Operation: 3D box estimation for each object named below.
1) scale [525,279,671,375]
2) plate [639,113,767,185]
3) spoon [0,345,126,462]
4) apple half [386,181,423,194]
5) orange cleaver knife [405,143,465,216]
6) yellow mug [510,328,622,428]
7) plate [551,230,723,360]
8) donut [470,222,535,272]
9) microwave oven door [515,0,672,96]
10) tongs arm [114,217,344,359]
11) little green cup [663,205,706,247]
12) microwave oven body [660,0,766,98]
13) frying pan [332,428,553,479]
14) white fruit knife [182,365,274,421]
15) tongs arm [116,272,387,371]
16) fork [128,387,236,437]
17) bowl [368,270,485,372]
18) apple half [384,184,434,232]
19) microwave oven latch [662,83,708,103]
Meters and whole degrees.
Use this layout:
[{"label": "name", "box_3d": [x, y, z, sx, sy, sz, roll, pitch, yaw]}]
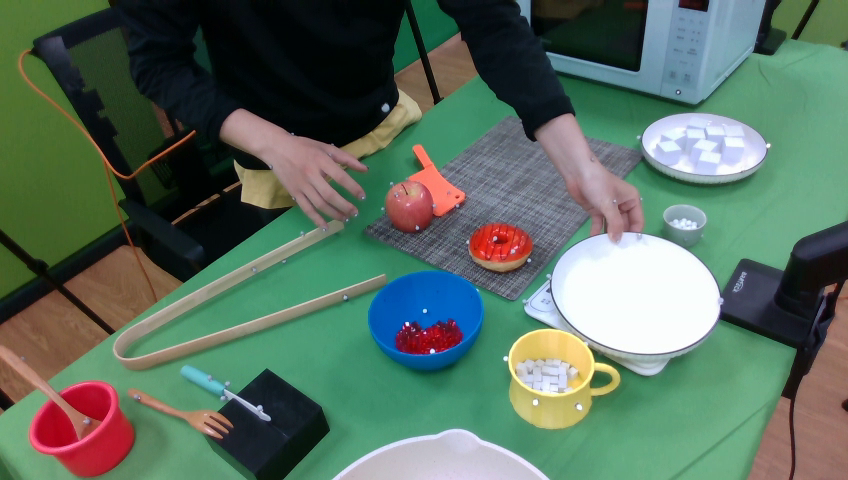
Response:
[{"label": "scale", "box_3d": [0.254, 0.091, 0.821, 0.199, 0.032, 0.149, 28, 51, 35]}, {"label": "plate", "box_3d": [0.489, -0.157, 1.074, 0.207, 0.039, 0.206, -4, 40, 4]}, {"label": "spoon", "box_3d": [-0.434, 0.192, 0.720, 0.194, 0.021, 0.042, 47, 53, -7]}, {"label": "apple half", "box_3d": [-0.028, -0.072, 1.016, 0.081, 0.081, 0.032, -10, 45, -2]}, {"label": "orange cleaver knife", "box_3d": [0.005, -0.113, 1.102, 0.077, 0.012, 0.209, -24, 45, -9]}, {"label": "yellow mug", "box_3d": [0.169, 0.164, 0.722, 0.130, 0.064, 0.099, 0, 40, 8]}, {"label": "plate", "box_3d": [0.270, 0.072, 0.781, 0.209, 0.038, 0.208, -3, 44, 4]}, {"label": "donut", "box_3d": [0.119, 0.009, 0.923, 0.099, 0.048, 0.098, -4, 38, 4]}, {"label": "microwave oven door", "box_3d": [0.343, -0.455, 1.259, 0.353, 0.245, 0.039, 26, 51, 33]}, {"label": "tongs arm", "box_3d": [-0.280, 0.068, 0.927, 0.386, 0.026, 0.050, -29, 48, -23]}, {"label": "little green cup", "box_3d": [0.396, -0.020, 0.926, 0.061, 0.039, 0.061, -4, 40, 4]}, {"label": "microwave oven body", "box_3d": [0.472, -0.513, 1.317, 0.438, 0.261, 0.327, 26, 51, 34]}, {"label": "frying pan", "box_3d": [-0.089, 0.306, 0.564, 0.487, 0.103, 0.306, 10, 41, 7]}, {"label": "white fruit knife", "box_3d": [-0.245, 0.187, 0.747, 0.205, 0.027, 0.016, 9, 41, 41]}, {"label": "tongs arm", "box_3d": [-0.237, 0.115, 0.869, 0.389, 0.028, 0.028, -18, 48, -12]}, {"label": "fork", "box_3d": [-0.305, 0.208, 0.744, 0.206, 0.019, 0.028, 3, 42, 36]}, {"label": "bowl", "box_3d": [0.007, 0.118, 0.791, 0.151, 0.077, 0.150, -5, 40, 4]}, {"label": "apple half", "box_3d": [-0.022, -0.046, 0.987, 0.081, 0.075, 0.053, -8, 43, -5]}, {"label": "microwave oven latch", "box_3d": [0.518, -0.296, 1.204, 0.078, 0.029, 0.030, 28, 52, 35]}]
